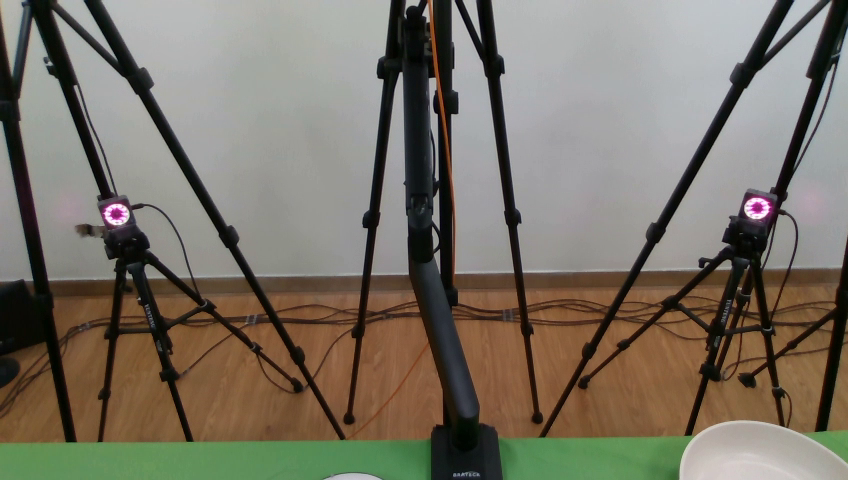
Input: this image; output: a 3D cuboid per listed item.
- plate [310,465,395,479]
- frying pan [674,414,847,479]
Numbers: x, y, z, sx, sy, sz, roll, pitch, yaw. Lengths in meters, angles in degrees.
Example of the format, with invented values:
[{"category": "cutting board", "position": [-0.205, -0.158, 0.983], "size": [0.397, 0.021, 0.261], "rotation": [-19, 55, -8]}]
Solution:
[{"category": "plate", "position": [-0.118, 0.446, 0.929], "size": [0.208, 0.039, 0.205], "rotation": [-1, 35, 1]}, {"category": "frying pan", "position": [0.527, 0.453, 0.844], "size": [0.306, 0.103, 0.484], "rotation": [2, 27, 6]}]
